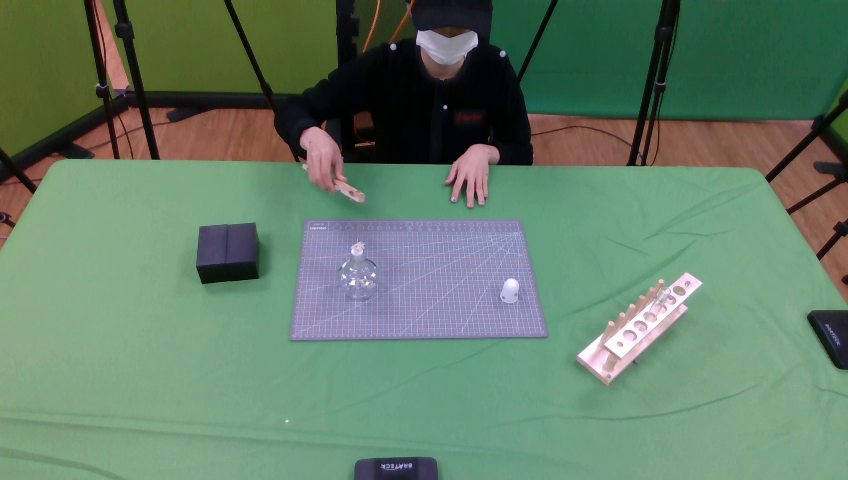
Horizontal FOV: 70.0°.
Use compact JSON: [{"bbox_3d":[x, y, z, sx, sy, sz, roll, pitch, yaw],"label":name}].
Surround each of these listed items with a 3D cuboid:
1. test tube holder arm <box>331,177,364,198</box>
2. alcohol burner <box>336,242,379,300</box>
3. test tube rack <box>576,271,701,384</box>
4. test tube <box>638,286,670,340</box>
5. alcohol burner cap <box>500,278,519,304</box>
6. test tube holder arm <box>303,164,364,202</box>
[{"bbox_3d":[-0.142,-0.097,1.123,0.087,0.010,0.015,30,19,36],"label":"test tube holder arm"},{"bbox_3d":[-0.118,0.050,1.072,0.078,0.120,0.077,2,44,-1],"label":"alcohol burner"},{"bbox_3d":[0.373,0.138,1.047,0.242,0.085,0.066,-31,56,-29],"label":"test tube rack"},{"bbox_3d":[0.373,0.122,0.994,0.017,0.151,0.017,0,51,0],"label":"test tube"},{"bbox_3d":[0.157,0.090,1.104,0.034,0.048,0.033,2,46,-2],"label":"alcohol burner cap"},{"bbox_3d":[-0.175,-0.110,1.152,0.177,0.013,0.015,30,18,37],"label":"test tube holder arm"}]
